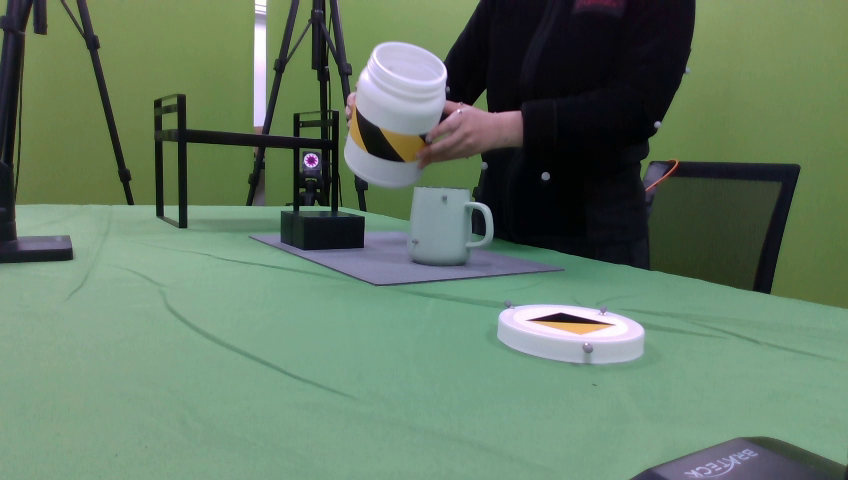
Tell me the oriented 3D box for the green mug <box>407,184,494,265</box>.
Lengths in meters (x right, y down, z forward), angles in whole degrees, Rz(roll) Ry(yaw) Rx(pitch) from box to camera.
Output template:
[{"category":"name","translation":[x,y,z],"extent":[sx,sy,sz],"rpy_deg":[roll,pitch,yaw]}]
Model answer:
[{"category":"green mug","translation":[0.038,-0.021,0.827],"extent":[0.125,0.105,0.093],"rpy_deg":[6,8,30]}]

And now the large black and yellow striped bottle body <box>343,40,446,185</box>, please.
[{"category":"large black and yellow striped bottle body","translation":[-0.044,-0.189,0.903],"extent":[0.131,0.184,0.130],"rpy_deg":[11,42,-10]}]

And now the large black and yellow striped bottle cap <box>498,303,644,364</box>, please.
[{"category":"large black and yellow striped bottle cap","translation":[0.117,0.072,0.486],"extent":[0.115,0.019,0.115],"rpy_deg":[1,8,0]}]
